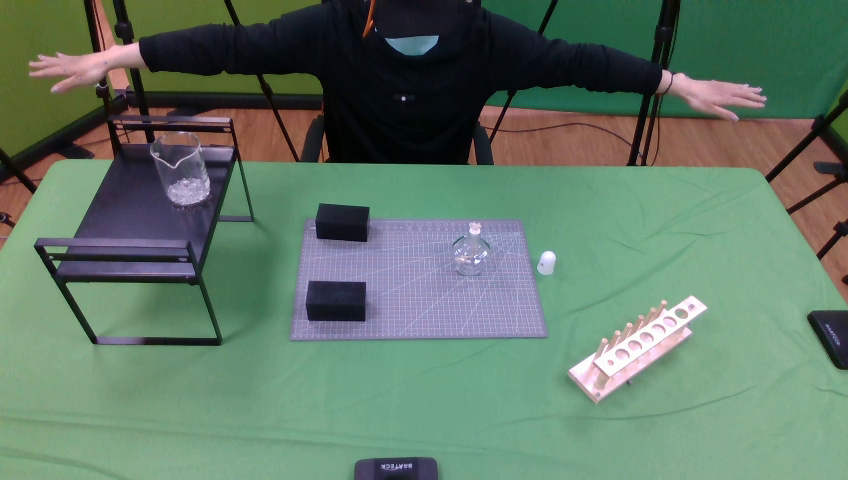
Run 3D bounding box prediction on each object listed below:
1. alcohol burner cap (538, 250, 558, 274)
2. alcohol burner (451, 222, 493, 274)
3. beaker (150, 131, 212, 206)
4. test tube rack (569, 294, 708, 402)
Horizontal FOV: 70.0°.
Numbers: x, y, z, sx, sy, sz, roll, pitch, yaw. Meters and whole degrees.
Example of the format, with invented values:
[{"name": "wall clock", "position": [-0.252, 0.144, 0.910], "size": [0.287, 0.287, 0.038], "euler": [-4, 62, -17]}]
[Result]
[{"name": "alcohol burner cap", "position": [0.238, 0.039, 1.159], "size": [0.034, 0.048, 0.033], "euler": [3, 46, -3]}, {"name": "alcohol burner", "position": [0.091, 0.008, 1.124], "size": [0.078, 0.119, 0.077], "euler": [2, 48, -2]}, {"name": "beaker", "position": [-0.385, -0.110, 0.969], "size": [0.074, 0.101, 0.083], "euler": [-6, 48, -9]}, {"name": "test tube rack", "position": [0.360, 0.167, 1.015], "size": [0.242, 0.085, 0.066], "euler": [-25, 52, -25]}]
